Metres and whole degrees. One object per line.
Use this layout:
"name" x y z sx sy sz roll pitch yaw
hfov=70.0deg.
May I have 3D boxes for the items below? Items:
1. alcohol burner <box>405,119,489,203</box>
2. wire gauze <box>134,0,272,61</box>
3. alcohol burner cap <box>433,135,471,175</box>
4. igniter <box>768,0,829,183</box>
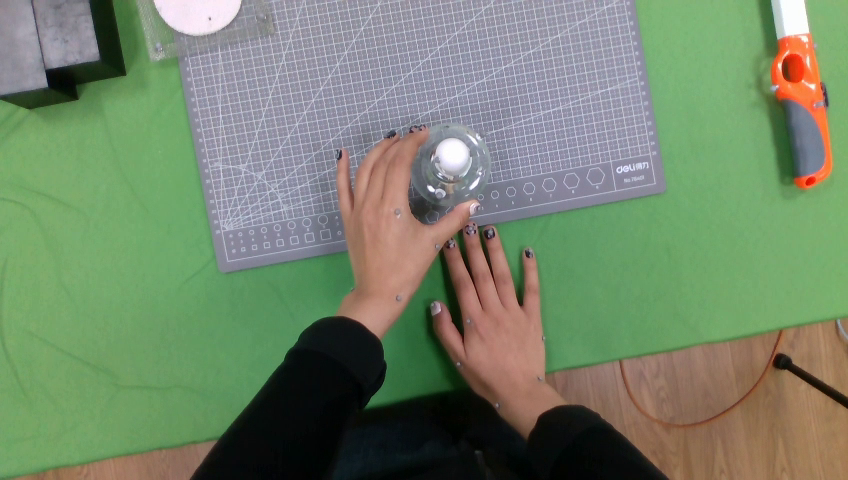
"alcohol burner" 0.022 -0.074 0.544 0.078 0.119 0.078 0 89 -2
"wire gauze" -0.223 -0.245 0.584 0.125 0.011 0.121 -16 91 -1
"alcohol burner cap" 0.022 -0.072 0.509 0.034 0.048 0.034 0 91 5
"igniter" 0.363 -0.194 0.598 0.057 0.025 0.276 -10 91 -12
